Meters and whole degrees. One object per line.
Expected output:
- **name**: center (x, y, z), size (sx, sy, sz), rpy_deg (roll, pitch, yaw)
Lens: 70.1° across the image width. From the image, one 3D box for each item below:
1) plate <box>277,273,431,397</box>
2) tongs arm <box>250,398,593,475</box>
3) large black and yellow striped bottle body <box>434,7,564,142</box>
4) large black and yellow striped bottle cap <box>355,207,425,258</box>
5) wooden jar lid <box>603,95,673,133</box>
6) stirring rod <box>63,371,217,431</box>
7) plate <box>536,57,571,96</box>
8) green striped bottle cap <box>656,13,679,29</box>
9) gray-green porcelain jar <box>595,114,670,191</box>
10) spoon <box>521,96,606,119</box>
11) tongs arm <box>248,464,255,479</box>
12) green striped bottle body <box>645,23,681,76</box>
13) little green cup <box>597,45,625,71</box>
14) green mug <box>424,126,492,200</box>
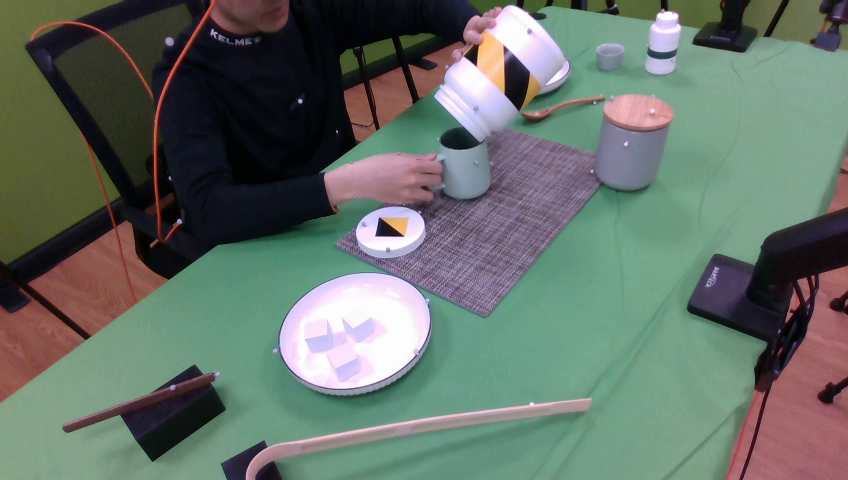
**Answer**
- **plate**: center (-0.091, 0.129, 0.821), size (0.207, 0.039, 0.206), rpy_deg (-4, 40, 4)
- **tongs arm**: center (0.008, 0.212, 0.675), size (0.389, 0.028, 0.028), rpy_deg (-5, 46, -11)
- **large black and yellow striped bottle body**: center (0.117, -0.260, 0.969), size (0.184, 0.132, 0.129), rpy_deg (-46, 43, 10)
- **large black and yellow striped bottle cap**: center (-0.056, -0.014, 0.993), size (0.115, 0.019, 0.114), rpy_deg (-3, 40, 3)
- **wooden jar lid**: center (0.343, -0.200, 0.974), size (0.108, 0.021, 0.108), rpy_deg (-2, 39, 2)
- **stirring rod**: center (-0.337, 0.192, 0.723), size (0.177, 0.014, 0.005), rpy_deg (-18, 42, -12)
- **plate**: center (0.223, -0.371, 1.357), size (0.209, 0.038, 0.208), rpy_deg (-4, 41, 4)
- **green striped bottle cap**: center (0.515, -0.463, 1.278), size (0.044, 0.020, 0.044), rpy_deg (-6, 42, 6)
- **gray-green porcelain jar**: center (0.346, -0.155, 1.017), size (0.106, 0.127, 0.105), rpy_deg (-2, 44, 2)
- **spoon**: center (0.291, -0.277, 1.249), size (0.194, 0.022, 0.041), rpy_deg (-17, 27, -11)
- **tongs arm**: center (0.012, 0.262, 0.615), size (0.385, 0.026, 0.050), rpy_deg (2, 42, -2)
- **green striped bottle body**: center (0.520, -0.424, 1.312), size (0.063, 0.120, 0.063), rpy_deg (-4, 41, 4)
- **little green cup**: center (0.423, -0.413, 1.375), size (0.061, 0.039, 0.061), rpy_deg (-3, 41, 3)
- **green mug**: center (0.055, -0.125, 1.038), size (0.126, 0.105, 0.091), rpy_deg (-26, 44, -20)
